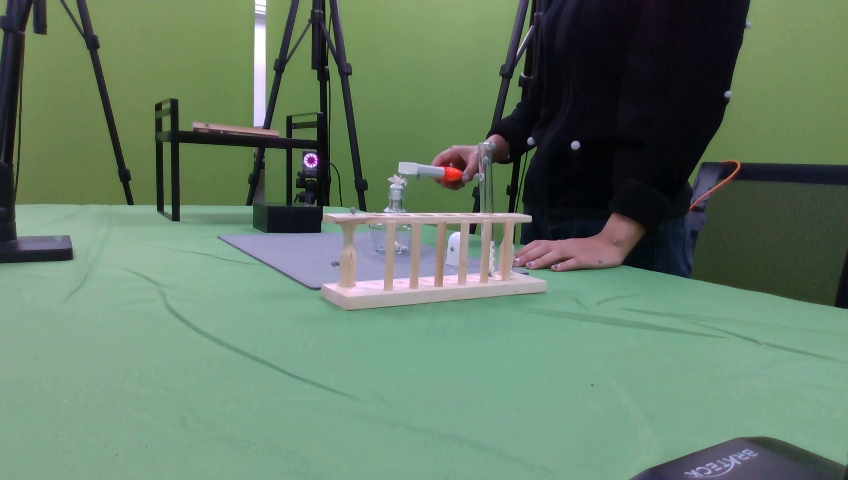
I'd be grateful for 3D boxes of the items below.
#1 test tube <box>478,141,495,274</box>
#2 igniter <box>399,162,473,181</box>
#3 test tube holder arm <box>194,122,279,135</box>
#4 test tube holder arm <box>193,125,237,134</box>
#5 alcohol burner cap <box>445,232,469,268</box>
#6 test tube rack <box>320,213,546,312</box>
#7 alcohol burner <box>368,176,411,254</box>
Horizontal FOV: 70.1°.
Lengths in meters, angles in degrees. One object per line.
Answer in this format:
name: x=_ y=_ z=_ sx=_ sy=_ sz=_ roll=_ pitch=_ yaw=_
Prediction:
test tube: x=0.071 y=-0.036 z=0.683 sx=0.017 sy=0.150 sz=0.017 roll=-2 pitch=8 yaw=1
igniter: x=0.027 y=-0.117 z=1.045 sx=0.057 sy=0.025 sz=0.277 roll=7 pitch=6 yaw=22
test tube holder arm: x=-0.401 y=-0.238 z=1.301 sx=0.179 sy=0.015 sz=0.013 roll=-2 pitch=-21 yaw=-29
test tube holder arm: x=-0.443 y=-0.235 z=1.284 sx=0.088 sy=0.015 sz=0.010 roll=-2 pitch=-20 yaw=-28
alcohol burner cap: x=0.045 y=0.013 z=0.829 sx=0.034 sy=0.048 sz=0.034 roll=2 pitch=7 yaw=0
test tube rack: x=0.018 y=0.017 z=0.638 sx=0.244 sy=0.085 sz=0.066 roll=-2 pitch=9 yaw=-31
alcohol burner: x=-0.045 y=-0.038 z=0.913 sx=0.078 sy=0.119 sz=0.078 roll=4 pitch=7 yaw=0
